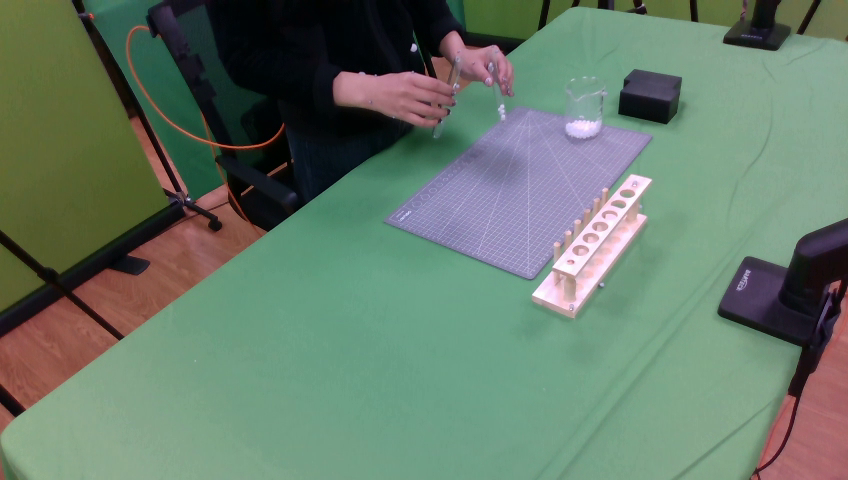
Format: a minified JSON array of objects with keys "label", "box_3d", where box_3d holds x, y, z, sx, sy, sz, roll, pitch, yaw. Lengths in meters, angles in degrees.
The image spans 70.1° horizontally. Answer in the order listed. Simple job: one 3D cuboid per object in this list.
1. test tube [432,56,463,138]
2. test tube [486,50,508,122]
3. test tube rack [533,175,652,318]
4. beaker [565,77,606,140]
[{"label":"test tube","box_3d":[0.038,-0.235,1.011,0.017,0.150,0.017,12,38,-9]},{"label":"test tube","box_3d":[0.132,-0.274,1.089,0.017,0.151,0.017,-10,47,11]},{"label":"test tube rack","box_3d":[0.250,-0.001,0.889,0.066,0.085,0.243,22,49,33]},{"label":"beaker","box_3d":[0.304,-0.247,1.153,0.073,0.101,0.084,15,46,27]}]
